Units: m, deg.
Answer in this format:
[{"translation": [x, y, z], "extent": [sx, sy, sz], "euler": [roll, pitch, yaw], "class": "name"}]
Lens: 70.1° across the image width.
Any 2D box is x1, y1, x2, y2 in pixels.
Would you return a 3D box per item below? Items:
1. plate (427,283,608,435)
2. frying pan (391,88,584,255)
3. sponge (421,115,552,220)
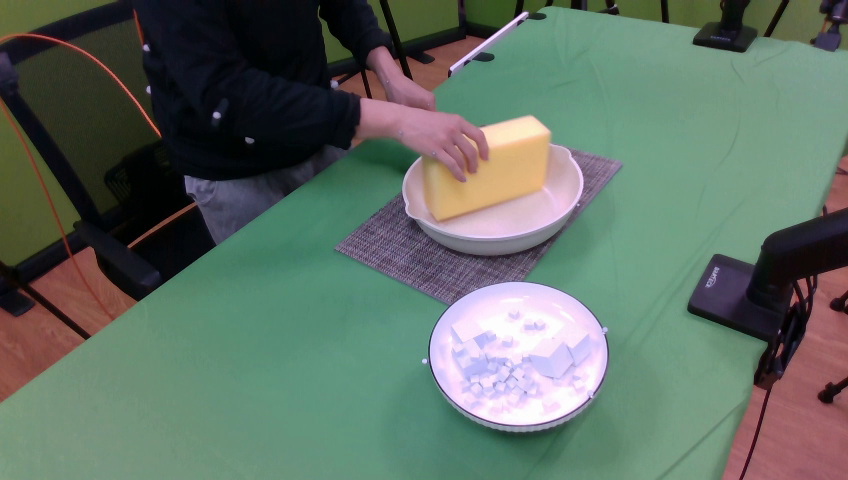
[{"translation": [0.108, 0.137, 0.708], "extent": [0.207, 0.039, 0.206], "euler": [-4, 42, 4], "class": "plate"}, {"translation": [0.063, -0.143, 1.056], "extent": [0.308, 0.103, 0.483], "euler": [-22, 51, -18], "class": "frying pan"}, {"translation": [0.102, -0.120, 0.995], "extent": [0.208, 0.118, 0.060], "euler": [-17, 44, -18], "class": "sponge"}]
